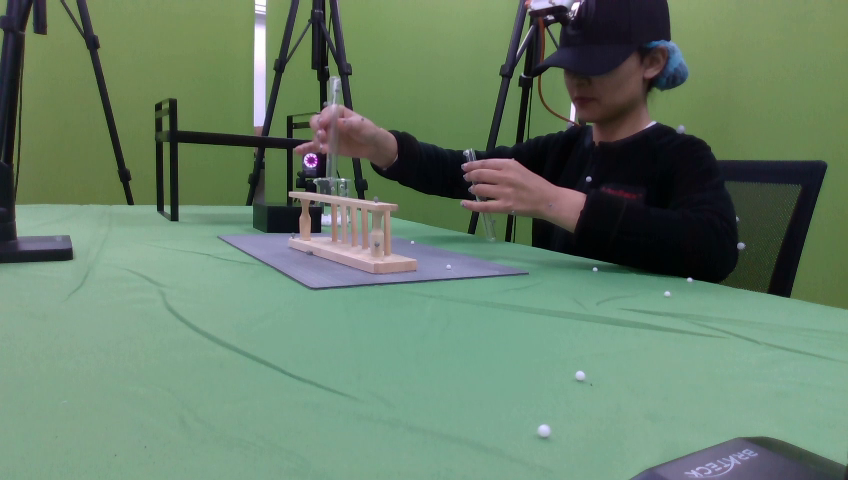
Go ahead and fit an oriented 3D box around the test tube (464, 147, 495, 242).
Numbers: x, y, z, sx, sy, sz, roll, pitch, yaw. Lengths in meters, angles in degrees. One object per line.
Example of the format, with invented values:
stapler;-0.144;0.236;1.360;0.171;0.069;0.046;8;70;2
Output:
test tube;0.087;-0.071;0.935;0.017;0.150;0.017;-14;-1;0

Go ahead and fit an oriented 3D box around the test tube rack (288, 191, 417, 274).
test tube rack;-0.106;-0.017;0.835;0.067;0.085;0.241;-3;9;-37

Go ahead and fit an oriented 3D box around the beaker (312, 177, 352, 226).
beaker;-0.194;-0.081;1.266;0.084;0.100;0.073;-3;9;-29

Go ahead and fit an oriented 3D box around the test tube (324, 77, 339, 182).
test tube;-0.133;-0.158;0.866;0.017;0.150;0.017;2;-3;0
